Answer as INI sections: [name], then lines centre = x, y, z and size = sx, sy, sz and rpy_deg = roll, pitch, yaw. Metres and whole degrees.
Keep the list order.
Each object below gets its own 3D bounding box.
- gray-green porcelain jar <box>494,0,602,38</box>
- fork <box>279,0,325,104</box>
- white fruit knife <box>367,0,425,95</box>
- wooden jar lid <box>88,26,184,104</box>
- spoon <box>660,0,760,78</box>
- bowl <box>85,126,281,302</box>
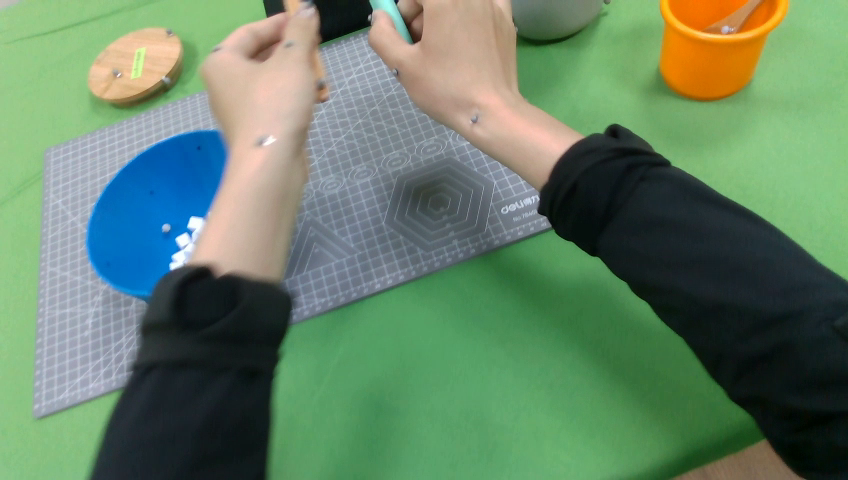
[gray-green porcelain jar]
centre = 0.111, -0.258, 0.545
size = 0.106, 0.128, 0.105
rpy_deg = -6, 59, 10
[fork]
centre = -0.103, -0.188, 0.435
size = 0.028, 0.019, 0.206
rpy_deg = -17, 74, -8
[white fruit knife]
centre = -0.047, -0.203, 0.460
size = 0.016, 0.027, 0.206
rpy_deg = -21, 77, -17
[wooden jar lid]
centre = -0.310, -0.189, 0.660
size = 0.108, 0.021, 0.107
rpy_deg = -4, 59, 8
[spoon]
centre = 0.265, -0.193, 0.461
size = 0.022, 0.194, 0.041
rpy_deg = 8, 55, -35
[bowl]
centre = -0.177, -0.008, 0.486
size = 0.151, 0.077, 0.150
rpy_deg = -6, 59, 10
